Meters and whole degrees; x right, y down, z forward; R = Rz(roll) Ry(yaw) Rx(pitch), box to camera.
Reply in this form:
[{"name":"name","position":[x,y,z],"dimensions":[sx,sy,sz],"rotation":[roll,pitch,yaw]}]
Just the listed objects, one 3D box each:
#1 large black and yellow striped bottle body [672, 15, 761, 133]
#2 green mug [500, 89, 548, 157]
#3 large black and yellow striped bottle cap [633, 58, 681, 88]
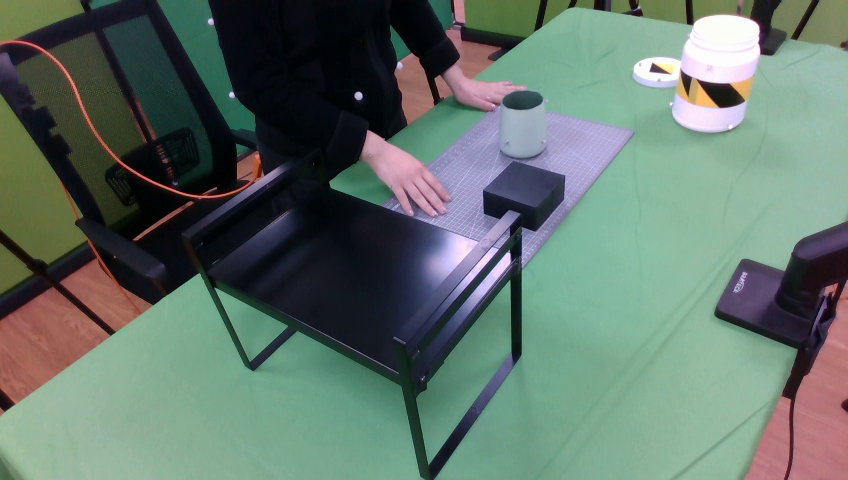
[{"name":"large black and yellow striped bottle body","position":[0.546,-0.309,1.128],"dimensions":[0.131,0.185,0.130],"rotation":[-4,41,4]},{"name":"green mug","position":[0.195,-0.228,1.145],"dimensions":[0.092,0.105,0.125],"rotation":[14,45,25]},{"name":"large black and yellow striped bottle cap","position":[0.521,-0.370,1.332],"dimensions":[0.115,0.019,0.114],"rotation":[-3,42,4]}]
